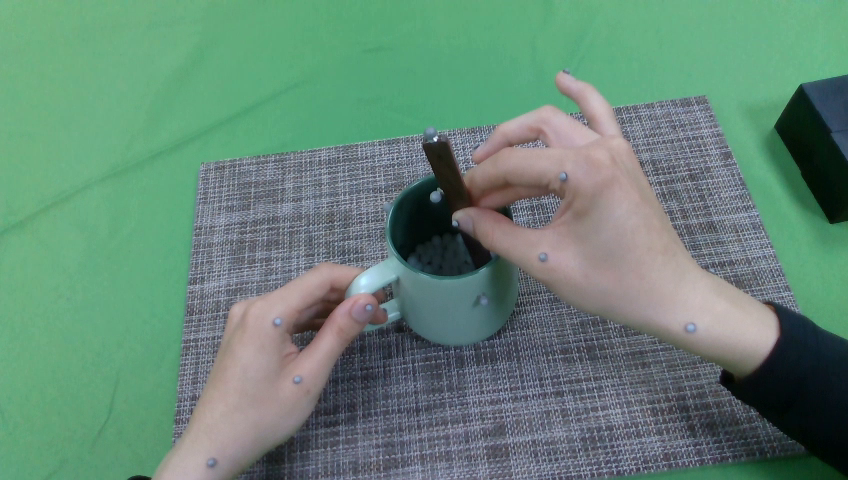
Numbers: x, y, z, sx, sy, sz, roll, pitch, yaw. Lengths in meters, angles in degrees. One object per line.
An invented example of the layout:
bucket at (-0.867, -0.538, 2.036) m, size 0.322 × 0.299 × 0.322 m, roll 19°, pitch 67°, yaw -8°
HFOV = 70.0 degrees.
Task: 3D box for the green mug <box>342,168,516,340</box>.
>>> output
green mug at (0.003, 0.020, 0.410) m, size 0.125 × 0.106 × 0.091 m, roll -28°, pitch 63°, yaw -10°

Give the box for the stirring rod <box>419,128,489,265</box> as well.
stirring rod at (0.024, -0.014, 0.369) m, size 0.014 × 0.178 × 0.005 m, roll -8°, pitch 63°, yaw 11°
